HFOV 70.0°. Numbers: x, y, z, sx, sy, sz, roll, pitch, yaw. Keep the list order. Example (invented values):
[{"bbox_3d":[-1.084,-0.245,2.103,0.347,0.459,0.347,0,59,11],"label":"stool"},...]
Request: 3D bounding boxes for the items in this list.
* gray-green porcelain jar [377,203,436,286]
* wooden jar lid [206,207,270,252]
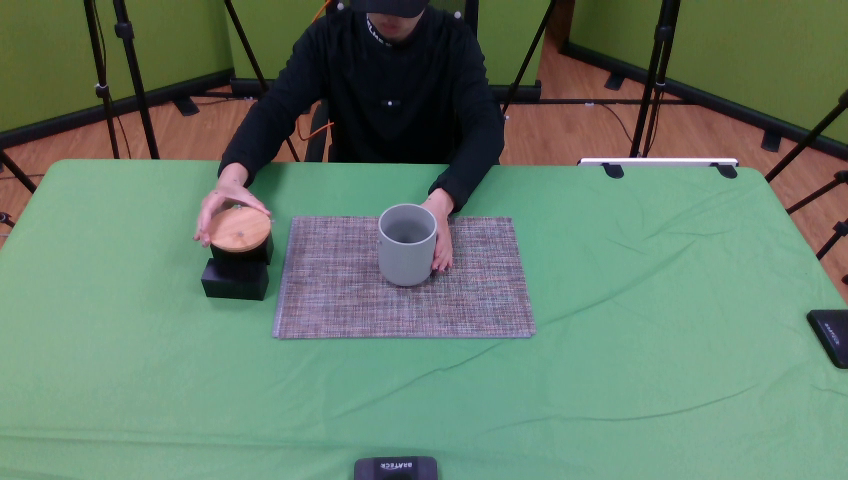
[{"bbox_3d":[-0.033,0.014,1.106,0.106,0.127,0.105,2,46,-2],"label":"gray-green porcelain jar"},{"bbox_3d":[-0.326,-0.017,1.069,0.108,0.021,0.107,3,42,-2],"label":"wooden jar lid"}]
